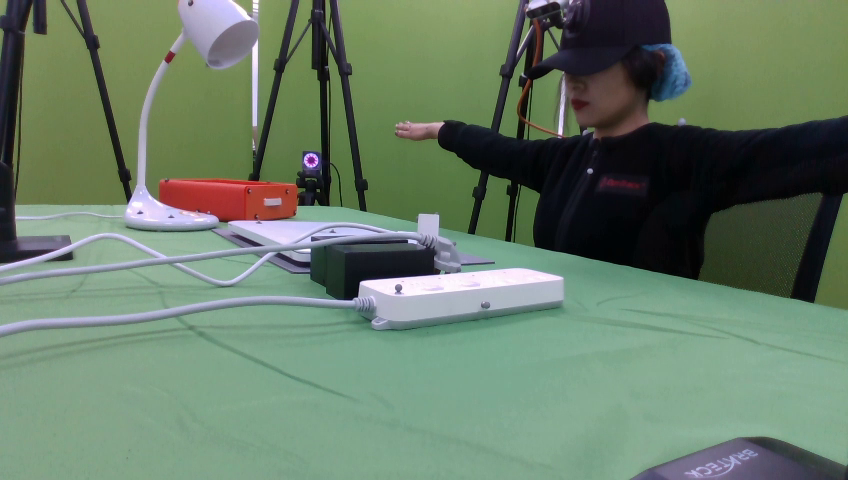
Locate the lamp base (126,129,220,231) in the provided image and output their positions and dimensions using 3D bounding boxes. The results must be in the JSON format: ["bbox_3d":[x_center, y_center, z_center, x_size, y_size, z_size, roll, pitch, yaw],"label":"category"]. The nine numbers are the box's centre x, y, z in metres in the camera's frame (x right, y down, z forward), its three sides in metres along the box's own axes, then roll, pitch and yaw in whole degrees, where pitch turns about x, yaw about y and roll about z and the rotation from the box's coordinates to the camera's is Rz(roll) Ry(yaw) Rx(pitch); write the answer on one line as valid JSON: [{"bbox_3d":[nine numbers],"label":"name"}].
[{"bbox_3d":[-0.470,-0.111,1.105,0.179,0.180,0.160,1,7,6],"label":"lamp base"}]

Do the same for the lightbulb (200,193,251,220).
[{"bbox_3d":[-0.433,-0.079,1.319,0.108,0.059,0.059,-17,13,-16],"label":"lightbulb"}]

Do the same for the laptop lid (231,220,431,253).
[{"bbox_3d":[-0.142,-0.009,0.942,0.243,0.013,0.355,1,7,-31],"label":"laptop lid"}]

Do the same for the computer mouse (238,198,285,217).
[{"bbox_3d":[-0.354,-0.072,1.326,0.063,0.041,0.117,3,2,11],"label":"computer mouse"}]

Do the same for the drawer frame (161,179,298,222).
[{"bbox_3d":[-0.420,-0.089,1.328,0.213,0.082,0.202,4,8,18],"label":"drawer frame"}]

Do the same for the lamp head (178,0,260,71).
[{"bbox_3d":[-0.365,-0.368,1.038,0.123,0.112,0.112,42,14,6],"label":"lamp head"}]

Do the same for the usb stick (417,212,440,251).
[{"bbox_3d":[0.005,-0.003,0.721,0.027,0.059,0.021,0,-3,-2],"label":"usb stick"}]

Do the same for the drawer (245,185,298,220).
[{"bbox_3d":[-0.416,-0.087,1.329,0.211,0.073,0.195,4,8,18],"label":"drawer"}]

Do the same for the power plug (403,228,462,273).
[{"bbox_3d":[0.006,0.016,0.647,0.073,0.052,0.035,17,12,-6],"label":"power plug"}]

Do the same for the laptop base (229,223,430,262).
[{"bbox_3d":[-0.145,0.002,0.943,0.237,0.023,0.352,2,6,-32],"label":"laptop base"}]

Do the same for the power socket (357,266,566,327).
[{"bbox_3d":[0.042,0.049,0.573,0.228,0.032,0.072,-3,8,-34],"label":"power socket"}]
